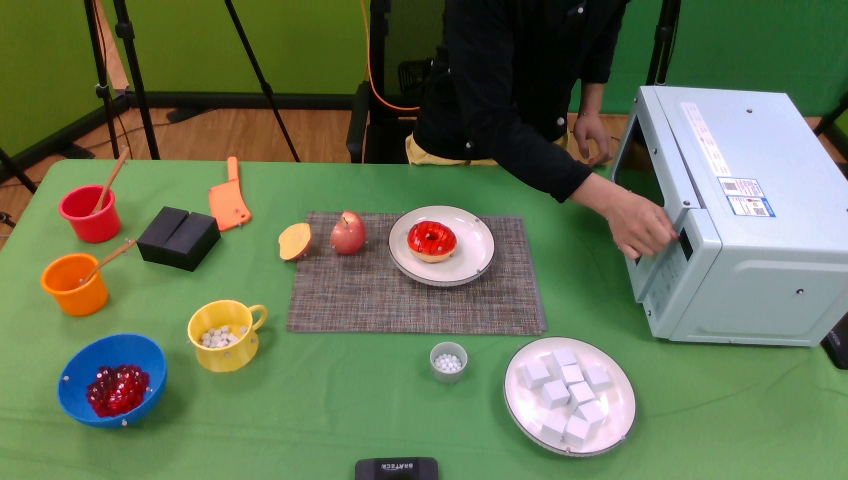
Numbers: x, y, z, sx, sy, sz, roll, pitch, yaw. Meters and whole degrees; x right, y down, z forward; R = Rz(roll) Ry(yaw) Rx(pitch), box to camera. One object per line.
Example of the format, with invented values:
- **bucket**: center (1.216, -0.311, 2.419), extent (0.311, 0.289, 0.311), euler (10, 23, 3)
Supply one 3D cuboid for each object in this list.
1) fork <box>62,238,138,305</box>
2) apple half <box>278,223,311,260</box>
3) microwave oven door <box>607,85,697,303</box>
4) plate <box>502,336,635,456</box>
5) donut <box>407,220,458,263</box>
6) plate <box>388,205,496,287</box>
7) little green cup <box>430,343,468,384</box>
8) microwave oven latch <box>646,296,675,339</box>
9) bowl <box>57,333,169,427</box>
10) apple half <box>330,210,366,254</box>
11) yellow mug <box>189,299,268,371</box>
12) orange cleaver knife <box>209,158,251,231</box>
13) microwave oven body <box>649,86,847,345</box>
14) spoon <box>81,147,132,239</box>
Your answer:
- **fork**: center (-0.547, 0.053, 1.019), extent (0.207, 0.019, 0.028), euler (-36, 41, 23)
- **apple half**: center (-0.240, 0.007, 1.157), extent (0.081, 0.033, 0.081), euler (-17, 54, 24)
- **microwave oven door**: center (0.418, -0.095, 1.140), extent (0.039, 0.245, 0.353), euler (3, 46, 0)
- **plate**: center (0.226, 0.248, 0.963), extent (0.208, 0.039, 0.206), euler (2, 46, -2)
- **donut**: center (0.016, 0.002, 1.166), extent (0.099, 0.048, 0.098), euler (3, 44, -3)
- **plate**: center (0.034, 0.014, 1.171), extent (0.209, 0.038, 0.208), euler (2, 46, -2)
- **little green cup**: center (0.039, 0.203, 0.994), extent (0.061, 0.039, 0.061), euler (2, 46, -2)
- **microwave oven latch**: center (0.412, 0.134, 1.061), extent (0.030, 0.029, 0.078), euler (4, 45, 1)
- **bowl**: center (-0.455, 0.223, 0.912), extent (0.151, 0.077, 0.150), euler (3, 45, -2)
- **apple half**: center (-0.139, -0.009, 1.157), extent (0.053, 0.075, 0.080), euler (17, 43, 8)
- **yellow mug**: center (-0.315, 0.148, 1.002), extent (0.131, 0.064, 0.099), euler (-32, 56, -31)
- **orange cleaver knife**: center (-0.409, -0.099, 1.266), extent (0.077, 0.012, 0.210), euler (-14, 49, -10)
- **microwave oven body**: center (0.568, -0.053, 1.118), extent (0.326, 0.261, 0.439), euler (2, 45, -1)
- **spoon**: center (-0.602, -0.089, 1.156), extent (0.041, 0.022, 0.193), euler (28, 94, 20)
